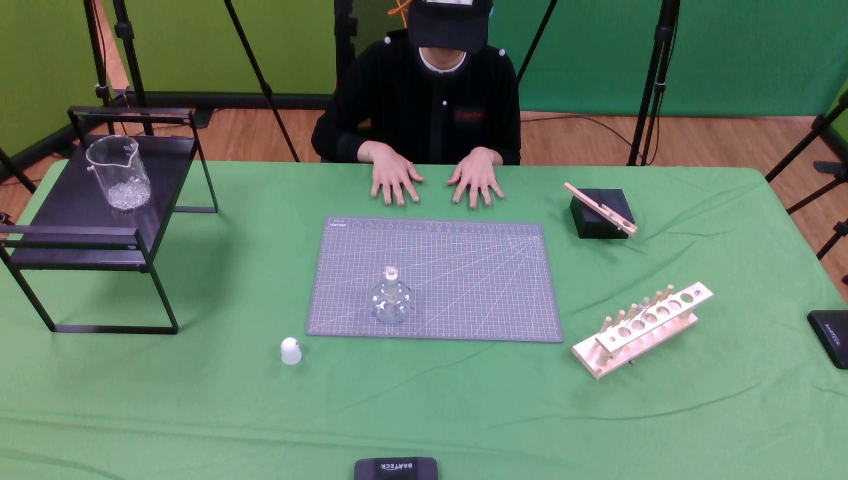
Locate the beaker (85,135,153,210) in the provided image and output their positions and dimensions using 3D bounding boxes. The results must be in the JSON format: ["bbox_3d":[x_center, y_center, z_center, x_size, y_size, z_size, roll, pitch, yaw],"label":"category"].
[{"bbox_3d":[-0.475,-0.102,0.957,0.083,0.101,0.074,34,53,26],"label":"beaker"}]

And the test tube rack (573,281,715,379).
[{"bbox_3d":[0.378,0.140,1.038,0.242,0.085,0.066,-22,51,-23],"label":"test tube rack"}]

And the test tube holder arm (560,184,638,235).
[{"bbox_3d":[0.348,-0.063,1.213,0.177,0.015,0.013,36,52,26],"label":"test tube holder arm"}]

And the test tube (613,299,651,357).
[{"bbox_3d":[0.328,0.143,0.962,0.017,0.151,0.017,3,48,-3],"label":"test tube"}]

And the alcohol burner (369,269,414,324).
[{"bbox_3d":[-0.056,0.089,1.037,0.078,0.120,0.077,1,47,-1],"label":"alcohol burner"}]

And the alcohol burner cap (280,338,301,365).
[{"bbox_3d":[-0.220,0.179,0.993,0.034,0.048,0.033,3,46,-3],"label":"alcohol burner cap"}]

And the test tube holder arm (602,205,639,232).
[{"bbox_3d":[0.384,-0.041,1.196,0.010,0.015,0.087,-30,56,-32],"label":"test tube holder arm"}]
